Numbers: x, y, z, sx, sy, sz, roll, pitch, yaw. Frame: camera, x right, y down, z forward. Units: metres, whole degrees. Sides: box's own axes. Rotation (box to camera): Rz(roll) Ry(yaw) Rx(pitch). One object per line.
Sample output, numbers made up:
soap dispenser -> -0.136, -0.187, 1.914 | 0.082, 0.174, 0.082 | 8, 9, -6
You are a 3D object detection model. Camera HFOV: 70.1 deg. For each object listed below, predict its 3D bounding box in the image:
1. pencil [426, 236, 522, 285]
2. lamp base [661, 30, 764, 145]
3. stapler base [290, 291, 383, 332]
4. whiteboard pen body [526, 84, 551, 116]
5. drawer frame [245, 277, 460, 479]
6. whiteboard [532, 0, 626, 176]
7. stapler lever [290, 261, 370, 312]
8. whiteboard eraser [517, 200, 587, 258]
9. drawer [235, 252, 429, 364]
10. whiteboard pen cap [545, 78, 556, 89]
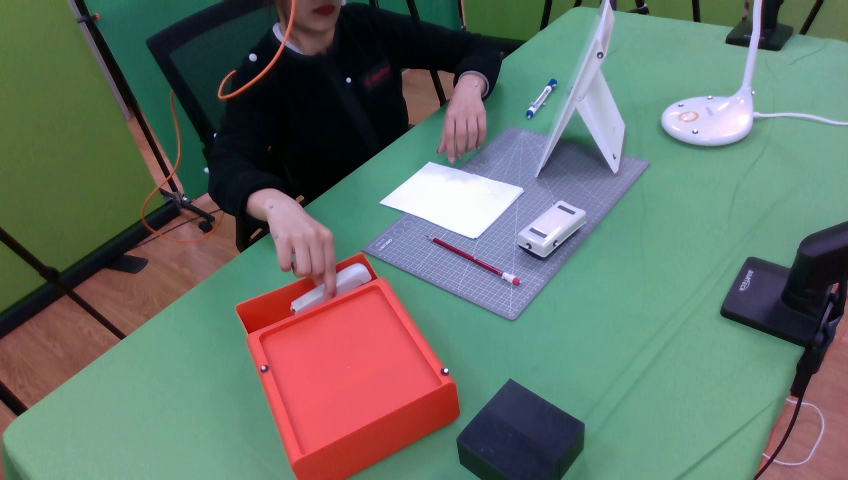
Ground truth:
pencil -> 0.072, 0.028, 0.941 | 0.192, 0.012, 0.012 | 26, 52, 37
lamp base -> 0.535, -0.287, 1.096 | 0.179, 0.181, 0.159 | -10, 40, -4
stapler base -> -0.123, 0.093, 0.848 | 0.131, 0.024, 0.041 | -17, 20, -20
whiteboard pen body -> 0.251, -0.305, 1.298 | 0.017, 0.017, 0.141 | 15, 45, 26
drawer frame -> -0.093, 0.167, 0.755 | 0.202, 0.083, 0.211 | -23, 43, -17
whiteboard -> 0.321, -0.258, 1.050 | 0.144, 0.306, 0.217 | 22, 45, 5
stapler lever -> -0.130, 0.066, 0.836 | 0.118, 0.040, 0.026 | -22, 22, -18
whiteboard eraser -> 0.200, -0.016, 0.943 | 0.113, 0.042, 0.055 | -37, 46, -29
drawer -> -0.124, 0.132, 0.804 | 0.195, 0.073, 0.210 | -23, 43, -17
whiteboard pen cap -> 0.280, -0.344, 1.335 | 0.018, 0.018, 0.033 | 15, 45, 25
